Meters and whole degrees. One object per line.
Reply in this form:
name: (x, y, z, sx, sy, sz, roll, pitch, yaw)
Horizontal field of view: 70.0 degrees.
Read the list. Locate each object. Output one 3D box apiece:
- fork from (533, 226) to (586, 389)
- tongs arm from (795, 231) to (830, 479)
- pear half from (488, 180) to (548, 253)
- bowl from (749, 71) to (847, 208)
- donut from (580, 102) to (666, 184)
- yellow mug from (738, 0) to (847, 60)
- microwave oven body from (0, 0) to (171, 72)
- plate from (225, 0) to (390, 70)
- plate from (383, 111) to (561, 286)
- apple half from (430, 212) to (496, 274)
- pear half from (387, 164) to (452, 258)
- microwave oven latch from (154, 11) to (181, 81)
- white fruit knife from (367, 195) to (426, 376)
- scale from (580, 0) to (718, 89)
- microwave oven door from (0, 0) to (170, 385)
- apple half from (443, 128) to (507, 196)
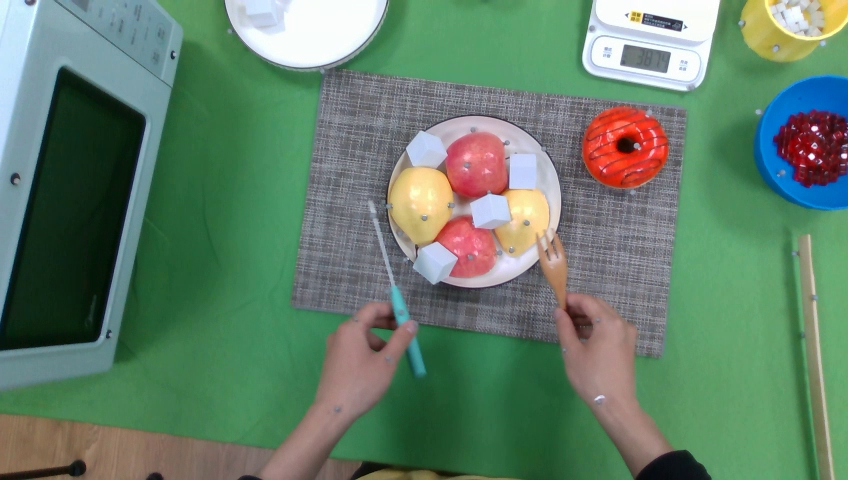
fork: (0.153, 0.080, 0.665, 0.028, 0.018, 0.209, -19, 114, -1)
tongs arm: (0.462, 0.181, 0.688, 0.051, 0.026, 0.384, -1, 86, 0)
pear half: (0.108, -0.029, 0.712, 0.070, 0.031, 0.088, 9, 83, 18)
bowl: (0.438, -0.106, 0.692, 0.151, 0.077, 0.151, 0, 86, 3)
donut: (0.233, -0.114, 0.716, 0.099, 0.048, 0.099, -1, 85, 6)
yellow mug: (0.428, -0.287, 0.713, 0.100, 0.064, 0.130, -25, 83, 1)
microwave oven body: (-0.506, -0.102, 0.646, 0.326, 0.260, 0.441, 10, 86, 3)
plate: (-0.142, -0.311, 0.760, 0.207, 0.039, 0.207, 0, 85, 3)
plate: (0.057, -0.048, 0.723, 0.209, 0.038, 0.208, 0, 85, 3)
apple half: (0.045, 0.003, 0.711, 0.081, 0.033, 0.081, 0, 79, 2)
pear half: (-0.005, -0.034, 0.704, 0.076, 0.056, 0.109, 1, 89, -4)
microwave oven latch: (-0.322, -0.240, 0.744, 0.030, 0.029, 0.079, 10, 86, 4)
white fruit knife: (-0.032, 0.052, 0.646, 0.016, 0.027, 0.208, -17, 100, -5)
scale: (0.281, -0.293, 0.739, 0.148, 0.031, 0.200, 12, 86, 5)
microwave oven door: (-0.370, -0.035, 0.628, 0.039, 0.244, 0.355, 10, 85, 4)
apple half: (0.059, -0.094, 0.709, 0.074, 0.053, 0.080, -5, 88, 5)
